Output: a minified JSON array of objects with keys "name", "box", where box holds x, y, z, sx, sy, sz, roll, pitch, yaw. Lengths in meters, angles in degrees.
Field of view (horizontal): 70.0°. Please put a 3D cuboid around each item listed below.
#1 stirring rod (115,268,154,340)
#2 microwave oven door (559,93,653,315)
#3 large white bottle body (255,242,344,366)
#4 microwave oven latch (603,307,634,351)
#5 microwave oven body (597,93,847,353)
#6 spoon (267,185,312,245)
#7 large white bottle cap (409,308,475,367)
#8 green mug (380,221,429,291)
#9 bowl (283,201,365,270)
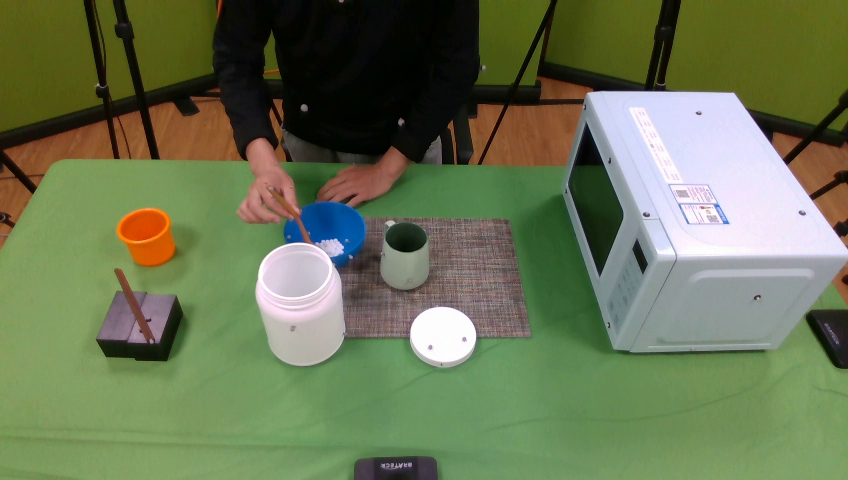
[{"name":"stirring rod","box":[-0.479,0.103,0.999,0.014,0.006,0.175,8,32,-49]},{"name":"microwave oven door","box":[0.327,-0.074,1.123,0.039,0.245,0.353,-1,46,-5]},{"name":"large white bottle body","box":[-0.196,0.102,0.967,0.131,0.185,0.130,2,49,-2]},{"name":"microwave oven latch","box":[0.332,0.153,1.044,0.030,0.029,0.078,0,45,-4]},{"name":"microwave oven body","box":[0.475,-0.041,1.109,0.326,0.261,0.438,-1,45,-4]},{"name":"spoon","box":[-0.222,-0.032,1.052,0.021,0.195,0.041,-35,48,-11]},{"name":"large white bottle cap","box":[0.031,0.165,1.041,0.115,0.018,0.114,2,47,-2]},{"name":"green mug","box":[-0.043,0.020,1.116,0.092,0.105,0.124,-20,50,-21]},{"name":"bowl","box":[-0.185,0.006,1.136,0.151,0.077,0.150,3,46,-3]}]
